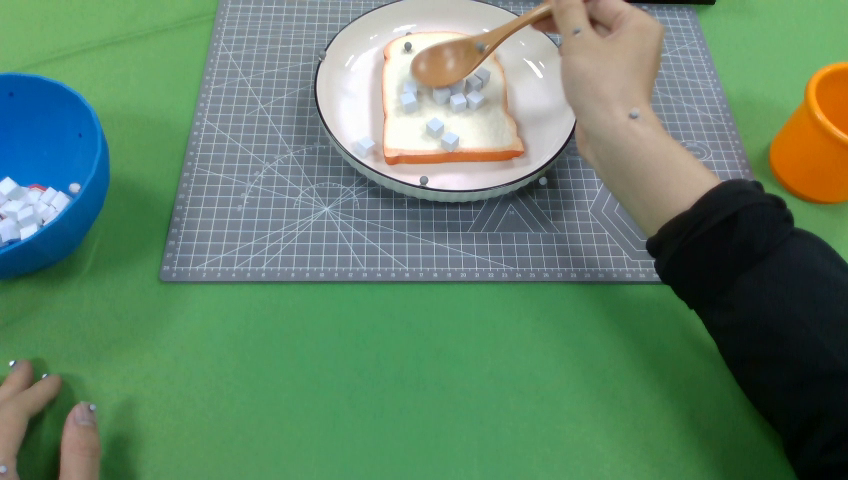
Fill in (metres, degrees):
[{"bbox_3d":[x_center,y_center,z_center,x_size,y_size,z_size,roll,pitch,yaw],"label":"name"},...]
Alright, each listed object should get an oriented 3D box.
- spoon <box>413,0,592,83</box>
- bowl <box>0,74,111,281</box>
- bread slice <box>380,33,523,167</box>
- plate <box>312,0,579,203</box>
[{"bbox_3d":[0.081,-0.163,0.448,0.193,0.022,0.041,-19,65,22],"label":"spoon"},{"bbox_3d":[-0.277,-0.028,0.402,0.151,0.077,0.150,2,60,-2],"label":"bowl"},{"bbox_3d":[0.013,-0.116,0.494,0.107,0.018,0.133,-6,62,-7],"label":"bread slice"},{"bbox_3d":[0.016,-0.113,0.489,0.209,0.038,0.207,1,60,-2],"label":"plate"}]
